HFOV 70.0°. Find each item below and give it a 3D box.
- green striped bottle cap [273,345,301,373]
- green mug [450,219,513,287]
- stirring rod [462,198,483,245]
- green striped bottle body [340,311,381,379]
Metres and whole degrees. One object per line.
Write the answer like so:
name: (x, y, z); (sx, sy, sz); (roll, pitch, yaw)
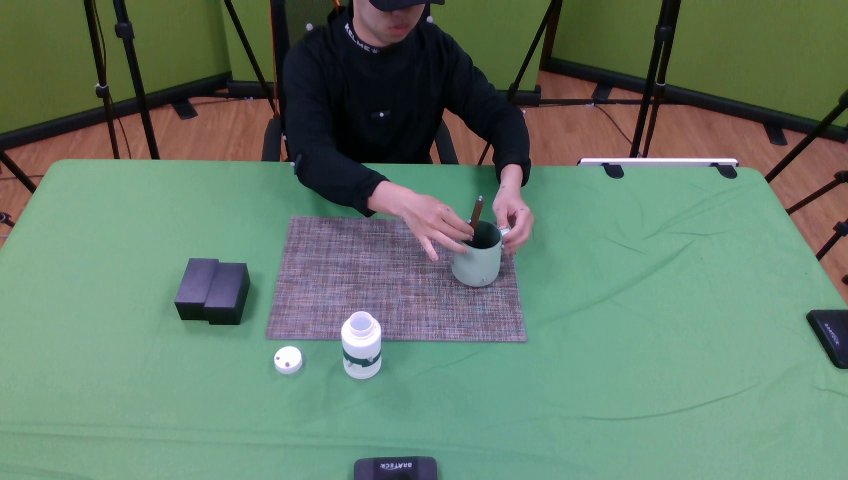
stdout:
green striped bottle cap: (-0.225, 0.195, 0.997); (0.044, 0.020, 0.044); (2, 50, -3)
green mug: (0.111, 0.019, 1.125); (0.125, 0.105, 0.092); (-22, 51, -23)
stirring rod: (0.078, -0.005, 1.087); (0.014, 0.177, 0.006); (5, 41, -11)
green striped bottle body: (-0.101, 0.164, 0.964); (0.063, 0.120, 0.063); (2, 46, -2)
